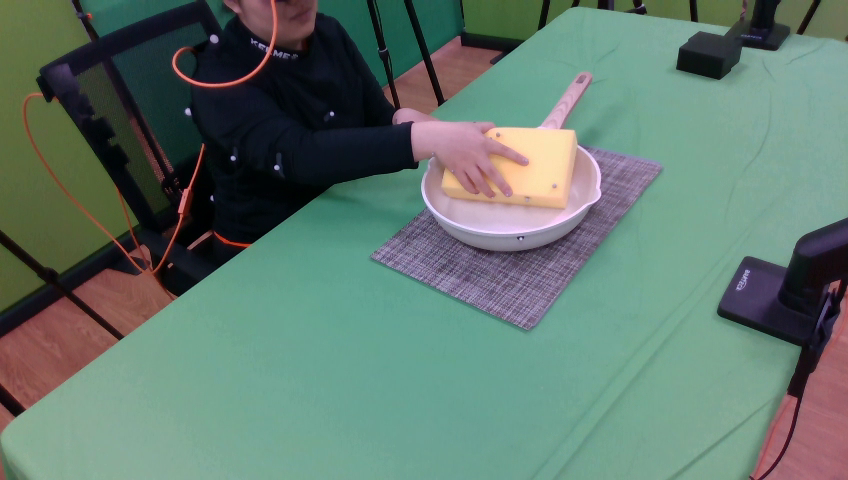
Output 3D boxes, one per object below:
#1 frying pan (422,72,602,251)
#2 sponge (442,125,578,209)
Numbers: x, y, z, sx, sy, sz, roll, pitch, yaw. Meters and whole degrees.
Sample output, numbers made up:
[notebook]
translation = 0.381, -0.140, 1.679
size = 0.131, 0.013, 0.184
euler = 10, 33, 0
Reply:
[frying pan]
translation = 0.199, -0.155, 1.062
size = 0.304, 0.103, 0.488
euler = 19, 56, 28
[sponge]
translation = 0.146, -0.125, 1.025
size = 0.206, 0.061, 0.118
euler = 6, 77, 20
